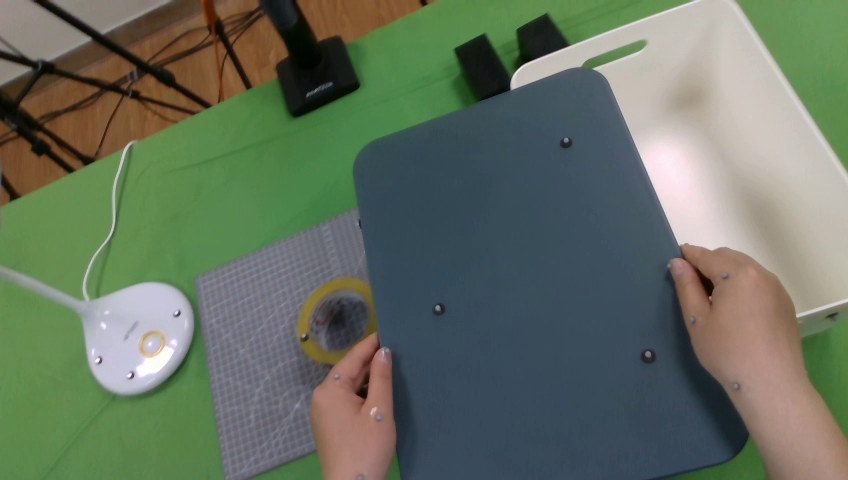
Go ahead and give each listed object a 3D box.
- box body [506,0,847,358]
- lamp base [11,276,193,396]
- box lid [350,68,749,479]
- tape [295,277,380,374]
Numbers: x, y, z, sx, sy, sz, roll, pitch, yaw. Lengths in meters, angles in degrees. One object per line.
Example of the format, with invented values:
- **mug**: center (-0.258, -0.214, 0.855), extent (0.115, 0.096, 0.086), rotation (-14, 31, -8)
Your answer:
- **box body**: center (0.268, -0.049, 0.670), extent (0.254, 0.162, 0.360), rotation (-19, 62, 6)
- **lamp base**: center (-0.427, 0.103, 0.785), extent (0.178, 0.182, 0.160), rotation (13, 70, 23)
- **box lid**: center (0.077, 0.024, 0.522), extent (0.263, 0.015, 0.368), rotation (-18, 63, 10)
- **tape**: center (-0.101, 0.108, 0.762), extent (0.116, 0.053, 0.116), rotation (-6, 64, 12)
